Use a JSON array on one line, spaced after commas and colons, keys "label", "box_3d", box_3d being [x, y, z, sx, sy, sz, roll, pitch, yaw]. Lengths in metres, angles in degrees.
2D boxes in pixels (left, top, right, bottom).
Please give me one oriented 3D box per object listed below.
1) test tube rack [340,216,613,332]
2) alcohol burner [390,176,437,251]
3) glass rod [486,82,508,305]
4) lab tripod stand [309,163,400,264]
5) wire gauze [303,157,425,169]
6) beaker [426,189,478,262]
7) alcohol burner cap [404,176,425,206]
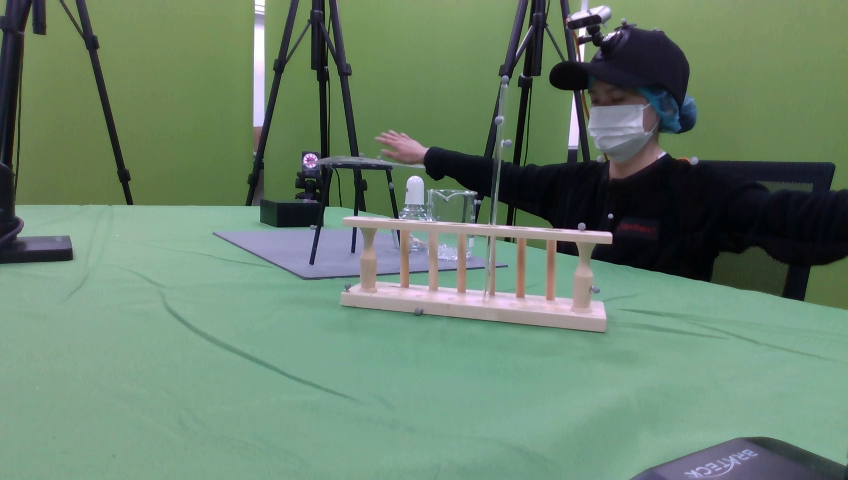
[{"label": "test tube rack", "box_3d": [0.047, 0.026, 0.568, 0.242, 0.085, 0.067, 4, 8, 13]}, {"label": "alcohol burner", "box_3d": [-0.016, -0.042, 0.955, 0.078, 0.119, 0.078, 4, 5, 0]}, {"label": "glass rod", "box_3d": [0.064, -0.035, 0.528, 0.008, 0.199, 0.008, 2, 13, 0]}, {"label": "lab tripod stand", "box_3d": [-0.091, -0.037, 0.813, 0.148, 0.131, 0.148, 1, 6, 0]}, {"label": "wire gauze", "box_3d": [-0.082, -0.102, 0.799, 0.126, 0.011, 0.121, -1, 7, -30]}, {"label": "beaker", "box_3d": [0.039, -0.022, 0.871, 0.074, 0.100, 0.084, 4, 8, 12]}, {"label": "alcohol burner cap", "box_3d": [-0.015, -0.077, 0.951, 0.034, 0.048, 0.034, 3, 4, 0]}]
